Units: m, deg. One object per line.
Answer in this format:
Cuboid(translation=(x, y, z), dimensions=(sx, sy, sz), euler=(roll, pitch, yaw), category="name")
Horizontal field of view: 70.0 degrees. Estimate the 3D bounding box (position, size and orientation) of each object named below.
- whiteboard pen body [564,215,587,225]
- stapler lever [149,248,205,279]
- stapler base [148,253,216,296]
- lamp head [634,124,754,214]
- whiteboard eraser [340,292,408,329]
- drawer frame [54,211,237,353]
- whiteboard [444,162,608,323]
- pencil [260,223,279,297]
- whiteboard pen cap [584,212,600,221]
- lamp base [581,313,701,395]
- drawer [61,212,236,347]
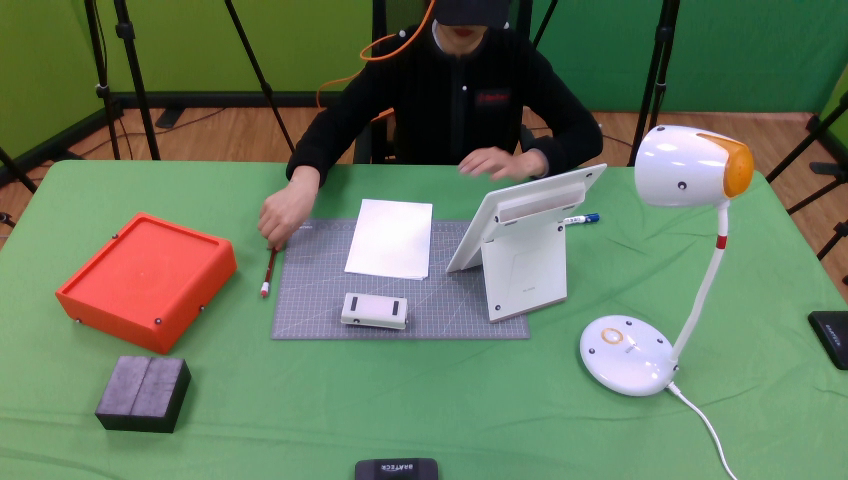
Cuboid(translation=(0.291, -0.040, 1.261), dimensions=(0.141, 0.017, 0.017), euler=(-6, 47, -11), category="whiteboard pen body")
Cuboid(translation=(-0.443, 0.037, 1.083), dimensions=(0.118, 0.040, 0.027), euler=(19, 50, 18), category="stapler lever")
Cuboid(translation=(-0.443, 0.059, 1.109), dimensions=(0.130, 0.024, 0.041), euler=(24, 51, 11), category="stapler base")
Cuboid(translation=(0.351, -0.089, 0.775), dimensions=(0.112, 0.113, 0.122), euler=(-30, 30, -28), category="lamp head")
Cuboid(translation=(-0.087, 0.125, 1.052), dimensions=(0.113, 0.042, 0.055), euler=(5, 45, 1), category="whiteboard eraser")
Cuboid(translation=(-0.473, 0.067, 1.055), dimensions=(0.201, 0.083, 0.212), euler=(17, 48, 11), category="drawer frame")
Cuboid(translation=(0.186, 0.026, 1.028), dimensions=(0.217, 0.306, 0.143), euler=(-14, 68, -18), category="whiteboard")
Cuboid(translation=(-0.291, 0.033, 1.152), dimensions=(0.012, 0.012, 0.193), euler=(1, 44, -3), category="pencil")
Cuboid(translation=(0.351, -0.049, 1.271), dimensions=(0.033, 0.018, 0.018), euler=(-6, 47, -12), category="whiteboard pen cap")
Cuboid(translation=(0.361, 0.144, 0.973), dimensions=(0.178, 0.181, 0.160), euler=(34, 53, 23), category="lamp base")
Cuboid(translation=(-0.473, 0.064, 1.059), dimensions=(0.194, 0.073, 0.211), euler=(18, 48, 11), category="drawer")
